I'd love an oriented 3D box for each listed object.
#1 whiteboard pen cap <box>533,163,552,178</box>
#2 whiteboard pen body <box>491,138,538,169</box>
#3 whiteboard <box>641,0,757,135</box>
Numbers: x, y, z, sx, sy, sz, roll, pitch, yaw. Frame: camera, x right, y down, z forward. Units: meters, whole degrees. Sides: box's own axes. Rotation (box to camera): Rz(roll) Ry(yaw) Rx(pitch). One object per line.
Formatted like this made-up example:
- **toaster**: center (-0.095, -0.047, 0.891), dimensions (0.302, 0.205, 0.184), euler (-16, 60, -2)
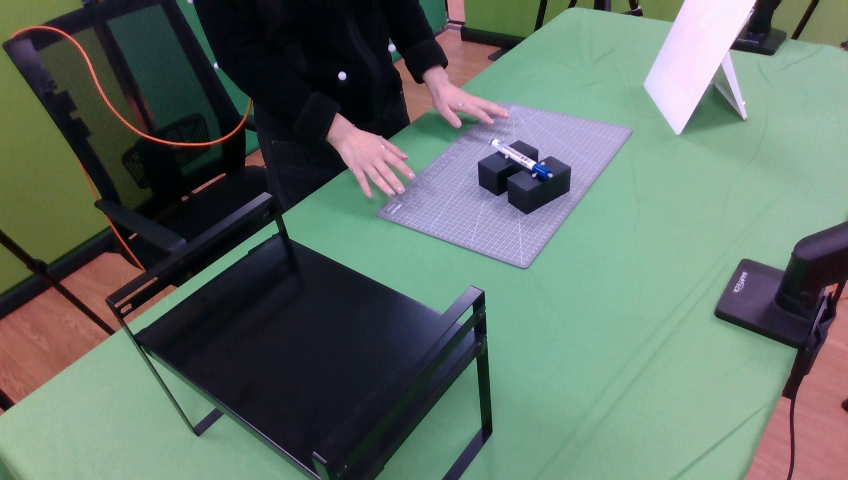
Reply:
- **whiteboard pen cap**: center (0.196, -0.116, 1.003), dimensions (0.018, 0.018, 0.033), euler (-28, 42, -22)
- **whiteboard pen body**: center (0.163, -0.145, 1.041), dimensions (0.017, 0.017, 0.139), euler (-27, 43, -22)
- **whiteboard**: center (0.575, -0.367, 1.147), dimensions (0.144, 0.305, 0.216), euler (10, 39, -9)
